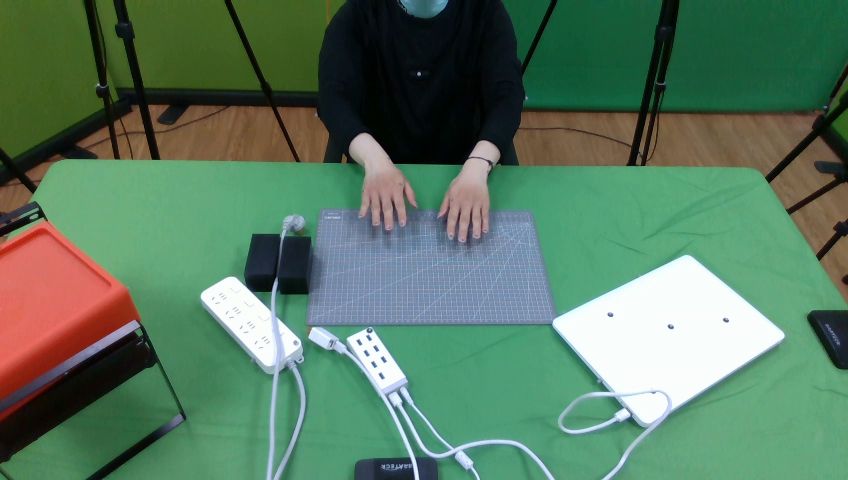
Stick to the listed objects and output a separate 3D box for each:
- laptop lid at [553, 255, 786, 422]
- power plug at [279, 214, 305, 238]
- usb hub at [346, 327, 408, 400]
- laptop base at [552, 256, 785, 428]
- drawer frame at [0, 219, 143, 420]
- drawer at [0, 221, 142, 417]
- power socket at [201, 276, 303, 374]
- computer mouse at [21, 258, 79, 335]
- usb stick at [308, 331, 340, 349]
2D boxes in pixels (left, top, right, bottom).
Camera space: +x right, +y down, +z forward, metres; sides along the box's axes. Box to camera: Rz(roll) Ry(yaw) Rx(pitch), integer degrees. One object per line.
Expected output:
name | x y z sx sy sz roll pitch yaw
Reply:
laptop lid | 0.433 0.154 1.070 0.357 0.013 0.240 -20 49 -22
power plug | -0.262 -0.020 1.185 0.035 0.053 0.072 10 56 33
usb hub | -0.078 0.202 0.998 0.049 0.025 0.124 -23 53 -24
laptop base | 0.433 0.164 1.078 0.355 0.023 0.234 -22 48 -23
drawer frame | -0.518 0.096 0.777 0.201 0.083 0.213 30 52 22
drawer | -0.516 0.095 0.780 0.193 0.073 0.211 32 53 23
power socket | -0.296 0.141 1.034 0.072 0.033 0.225 -35 58 -31
computer mouse | -0.505 0.073 0.819 0.063 0.041 0.116 -6 57 -19
usb stick | -0.175 0.167 1.023 0.059 0.027 0.021 10 89 24
